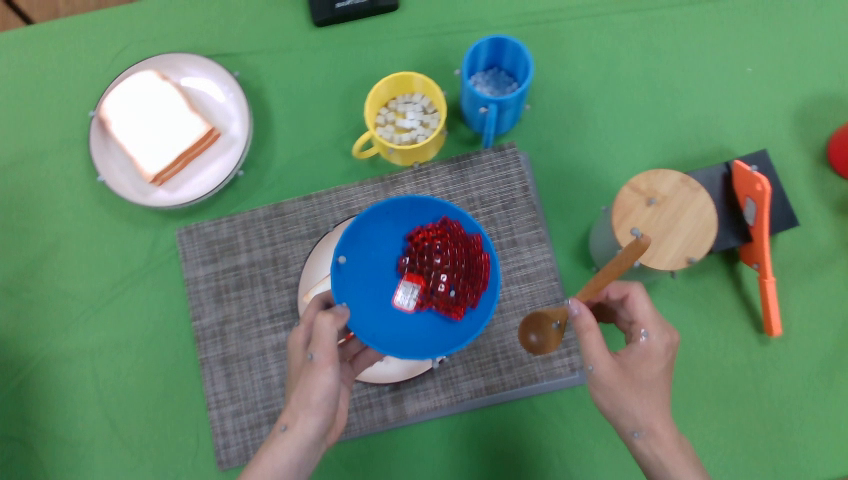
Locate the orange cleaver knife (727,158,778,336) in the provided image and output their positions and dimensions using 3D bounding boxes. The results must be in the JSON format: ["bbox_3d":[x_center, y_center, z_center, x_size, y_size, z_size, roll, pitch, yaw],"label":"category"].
[{"bbox_3d":[0.383,0.009,0.709,0.012,0.077,0.212,-15,105,-1],"label":"orange cleaver knife"}]

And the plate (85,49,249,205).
[{"bbox_3d":[-0.326,-0.143,0.781,0.207,0.039,0.206,0,79,1],"label":"plate"}]

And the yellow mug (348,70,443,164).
[{"bbox_3d":[-0.039,-0.144,0.759,0.131,0.064,0.099,-35,79,-3],"label":"yellow mug"}]

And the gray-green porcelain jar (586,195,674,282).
[{"bbox_3d":[0.247,-0.009,0.695,0.106,0.127,0.105,0,79,1],"label":"gray-green porcelain jar"}]

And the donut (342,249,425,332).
[{"bbox_3d":[-0.046,0.058,0.703,0.099,0.048,0.098,5,73,-15],"label":"donut"}]

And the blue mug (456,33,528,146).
[{"bbox_3d":[0.079,-0.174,0.742,0.082,0.106,0.116,7,79,3],"label":"blue mug"}]

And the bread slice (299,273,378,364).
[{"bbox_3d":[-0.056,0.052,0.672,0.107,0.018,0.134,41,76,2],"label":"bread slice"}]

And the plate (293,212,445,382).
[{"bbox_3d":[-0.051,0.064,0.730,0.209,0.038,0.208,0,79,2],"label":"plate"}]

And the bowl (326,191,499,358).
[{"bbox_3d":[-0.013,0.038,0.557,0.152,0.077,0.150,2,73,-7],"label":"bowl"}]

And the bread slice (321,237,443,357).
[{"bbox_3d":[-0.057,0.076,0.730,0.104,0.019,0.131,43,83,10],"label":"bread slice"}]

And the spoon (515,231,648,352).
[{"bbox_3d":[0.129,0.049,0.516,0.021,0.194,0.041,-33,75,-33],"label":"spoon"}]

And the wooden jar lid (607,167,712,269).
[{"bbox_3d":[0.244,-0.023,0.633,0.108,0.021,0.108,0,81,-1],"label":"wooden jar lid"}]
